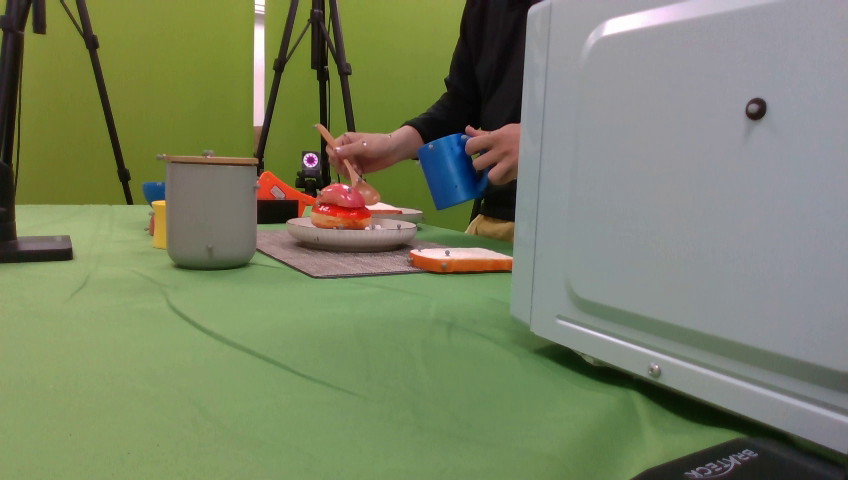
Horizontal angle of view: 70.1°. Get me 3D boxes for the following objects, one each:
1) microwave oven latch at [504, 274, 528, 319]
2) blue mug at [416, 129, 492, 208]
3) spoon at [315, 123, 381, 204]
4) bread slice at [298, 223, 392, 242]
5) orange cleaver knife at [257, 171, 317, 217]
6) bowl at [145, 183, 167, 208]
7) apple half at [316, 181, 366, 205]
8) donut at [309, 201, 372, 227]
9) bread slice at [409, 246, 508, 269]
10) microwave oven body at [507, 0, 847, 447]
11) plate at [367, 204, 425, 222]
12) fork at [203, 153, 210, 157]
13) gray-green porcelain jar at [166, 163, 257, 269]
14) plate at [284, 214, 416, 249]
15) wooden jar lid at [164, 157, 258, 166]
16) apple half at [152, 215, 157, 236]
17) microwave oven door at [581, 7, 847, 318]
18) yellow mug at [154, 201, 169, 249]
[{"bbox_3d":[0.100,0.041,0.470,0.079,0.029,0.030,-1,7,-27],"label":"microwave oven latch"},{"bbox_3d":[0.056,-0.119,0.965,0.116,0.106,0.083,-19,1,34],"label":"blue mug"},{"bbox_3d":[-0.134,-0.134,1.038,0.042,0.193,0.021,-26,-18,-24],"label":"spoon"},{"bbox_3d":[-0.121,-0.014,0.971,0.106,0.018,0.135,9,10,42],"label":"bread slice"},{"bbox_3d":[-0.283,-0.087,1.343,0.212,0.077,0.012,24,-16,-41],"label":"orange cleaver knife"},{"bbox_3d":[-0.459,-0.069,1.175,0.151,0.077,0.151,2,7,0],"label":"bowl"},{"bbox_3d":[-0.128,-0.076,0.954,0.081,0.033,0.081,6,13,-1],"label":"apple half"},{"bbox_3d":[-0.132,-0.042,0.959,0.099,0.048,0.099,3,8,0],"label":"donut"},{"bbox_3d":[0.048,0.022,0.816,0.132,0.019,0.104,0,7,-24],"label":"bread slice"},{"bbox_3d":[0.331,-0.042,0.425,0.444,0.260,0.324,-2,8,-31],"label":"microwave oven body"},{"bbox_3d":[-0.102,-0.053,1.299,0.209,0.038,0.209,2,8,0],"label":"plate"},{"bbox_3d":[-0.480,-0.134,1.411,0.028,0.018,0.207,1,-35,0],"label":"fork"},{"bbox_3d":[-0.263,-0.031,0.754,0.106,0.126,0.106,2,7,0],"label":"gray-green porcelain jar"},{"bbox_3d":[-0.116,-0.014,0.967,0.208,0.039,0.207,2,8,0],"label":"plate"},{"bbox_3d":[-0.261,-0.093,0.746,0.108,0.020,0.108,1,9,0],"label":"wooden jar lid"},{"bbox_3d":[-0.415,-0.034,1.017,0.081,0.053,0.074,1,10,-8],"label":"apple half"},{"bbox_3d":[0.295,-0.067,0.569,0.358,0.243,0.039,-3,8,-31],"label":"microwave oven door"},{"bbox_3d":[-0.337,-0.022,0.899,0.130,0.064,0.100,8,9,34],"label":"yellow mug"}]
